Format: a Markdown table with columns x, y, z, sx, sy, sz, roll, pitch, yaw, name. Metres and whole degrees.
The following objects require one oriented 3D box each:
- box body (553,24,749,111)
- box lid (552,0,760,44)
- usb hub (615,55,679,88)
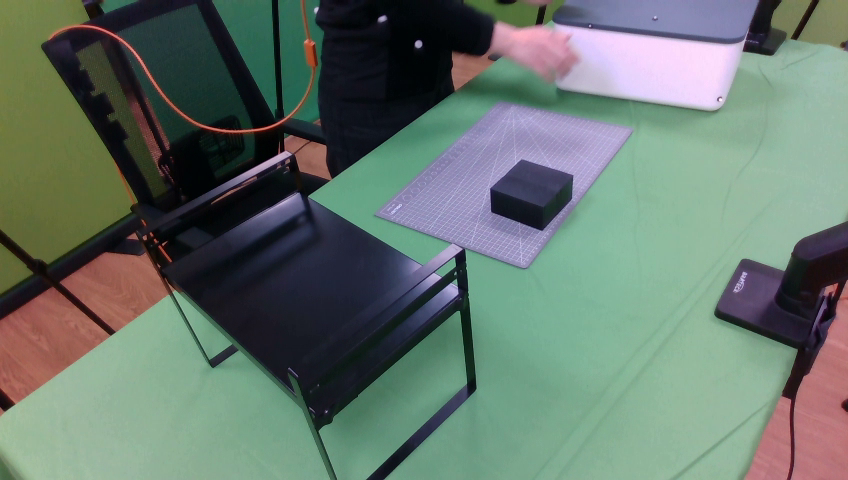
| x | y | z | sx | sy | sz | roll | pitch | yaw | name |
| --- | --- | --- | --- | --- | --- | --- | --- | --- | --- |
| 0.480 | -0.417 | 1.282 | 0.362 | 0.161 | 0.254 | 16 | 46 | 25 | box body |
| 0.471 | -0.473 | 1.234 | 0.369 | 0.015 | 0.263 | 16 | 45 | 25 | box lid |
| 0.482 | -0.366 | 1.309 | 0.124 | 0.025 | 0.049 | 25 | 48 | 24 | usb hub |
